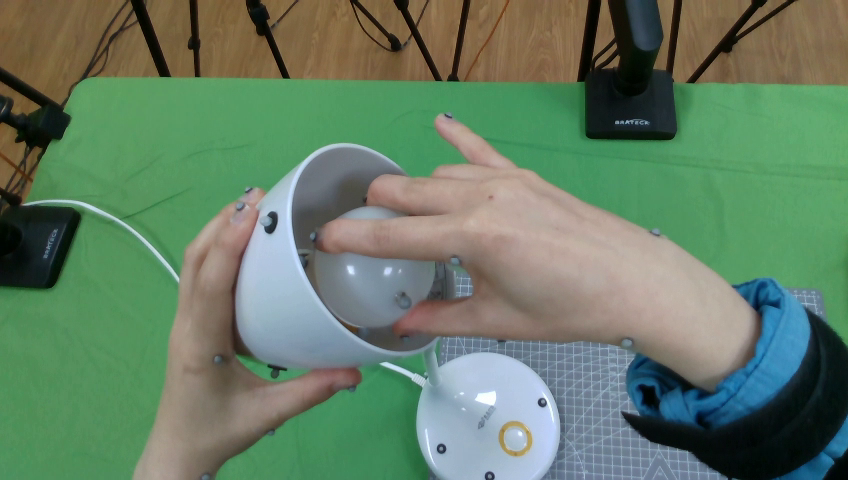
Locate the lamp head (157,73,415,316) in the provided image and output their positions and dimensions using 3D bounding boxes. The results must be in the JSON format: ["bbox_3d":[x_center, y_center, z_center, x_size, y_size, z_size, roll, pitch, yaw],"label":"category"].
[{"bbox_3d":[-0.079,-0.008,0.315,0.113,0.123,0.111,19,60,-35],"label":"lamp head"}]

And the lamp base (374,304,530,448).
[{"bbox_3d":[0.018,0.120,0.610,0.179,0.181,0.159,8,70,12],"label":"lamp base"}]

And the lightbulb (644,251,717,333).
[{"bbox_3d":[0.282,0.055,0.680,0.059,0.060,0.106,-21,54,-2],"label":"lightbulb"}]
